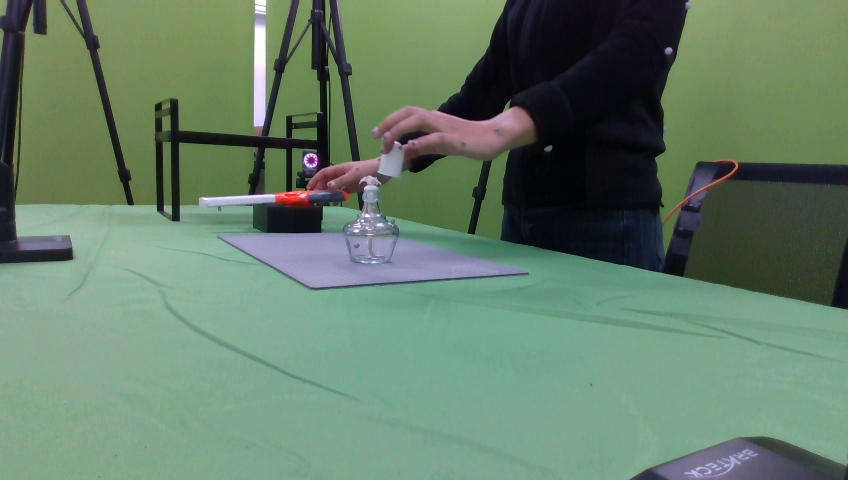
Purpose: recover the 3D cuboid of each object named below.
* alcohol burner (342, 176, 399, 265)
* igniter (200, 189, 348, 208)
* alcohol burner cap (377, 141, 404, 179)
[{"bbox_3d":[-0.073,-0.027,0.818,0.078,0.119,0.078,1,6,0],"label":"alcohol burner"},{"bbox_3d":[-0.275,-0.079,1.142,0.278,0.025,0.057,-6,11,-32],"label":"igniter"},{"bbox_3d":[-0.042,-0.106,0.796,0.034,0.048,0.034,12,13,-2],"label":"alcohol burner cap"}]
